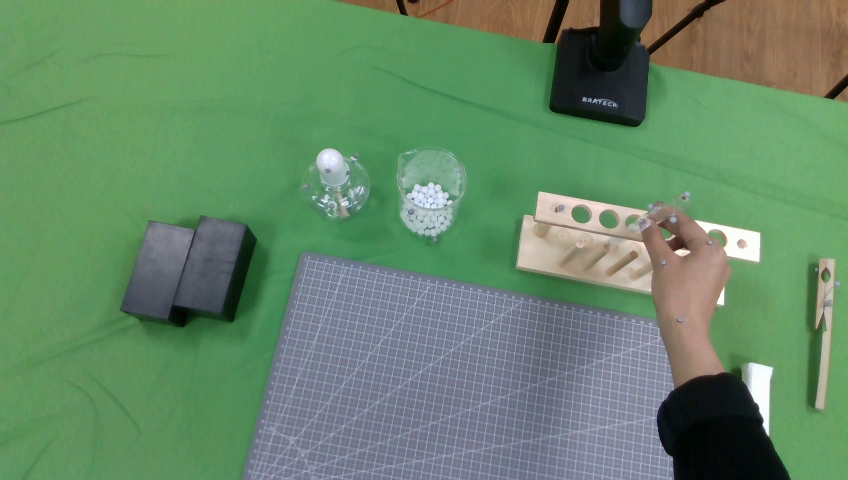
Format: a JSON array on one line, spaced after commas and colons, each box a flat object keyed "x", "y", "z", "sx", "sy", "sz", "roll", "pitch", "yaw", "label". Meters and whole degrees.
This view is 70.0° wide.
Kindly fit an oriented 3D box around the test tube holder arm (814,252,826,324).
[{"x": 0.470, "y": 0.057, "z": 0.718, "sx": 0.010, "sy": 0.015, "sz": 0.087, "roll": 2, "pitch": 70, "yaw": 34, "label": "test tube holder arm"}]

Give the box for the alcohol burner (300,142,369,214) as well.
[{"x": -0.100, "y": -0.074, "z": 0.669, "sx": 0.078, "sy": 0.119, "sz": 0.077, "roll": 1, "pitch": 71, "yaw": -3, "label": "alcohol burner"}]

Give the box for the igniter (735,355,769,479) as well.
[{"x": 0.345, "y": 0.261, "z": 0.644, "sx": 0.057, "sy": 0.025, "sz": 0.275, "roll": 15, "pitch": 73, "yaw": -10, "label": "igniter"}]

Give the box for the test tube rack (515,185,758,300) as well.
[{"x": 0.233, "y": 0.006, "z": 0.682, "sx": 0.242, "sy": 0.085, "sz": 0.066, "roll": 11, "pitch": 73, "yaw": -1, "label": "test tube rack"}]

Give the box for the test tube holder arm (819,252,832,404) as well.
[{"x": 0.466, "y": 0.099, "z": 0.702, "sx": 0.013, "sy": 0.015, "sz": 0.177, "roll": 0, "pitch": 69, "yaw": 33, "label": "test tube holder arm"}]

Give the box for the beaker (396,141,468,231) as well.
[{"x": 0.003, "y": -0.058, "z": 0.678, "sx": 0.083, "sy": 0.101, "sz": 0.074, "roll": 38, "pitch": 74, "yaw": 9, "label": "beaker"}]

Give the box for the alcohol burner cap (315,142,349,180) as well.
[{"x": -0.097, "y": -0.085, "z": 0.634, "sx": 0.034, "sy": 0.048, "sz": 0.033, "roll": 0, "pitch": 78, "yaw": 1, "label": "alcohol burner cap"}]

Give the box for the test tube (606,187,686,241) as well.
[{"x": 0.227, "y": -0.024, "z": 0.635, "sx": 0.017, "sy": 0.150, "sz": 0.017, "roll": 2, "pitch": 75, "yaw": -8, "label": "test tube"}]
